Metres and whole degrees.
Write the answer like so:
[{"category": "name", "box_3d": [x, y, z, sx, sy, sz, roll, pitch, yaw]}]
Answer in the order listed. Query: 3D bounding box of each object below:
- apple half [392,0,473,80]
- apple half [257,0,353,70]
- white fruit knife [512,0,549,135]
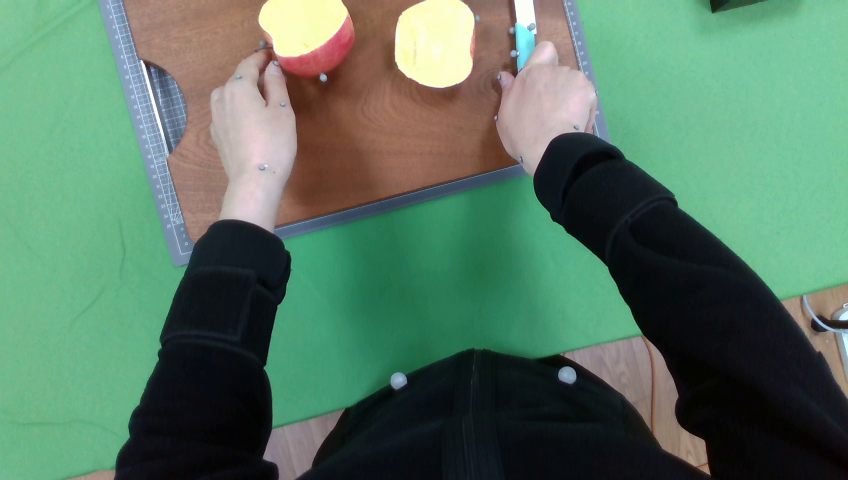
[{"category": "apple half", "box_3d": [0.010, -0.187, 0.557, 0.081, 0.032, 0.081, 2, 104, 10]}, {"category": "apple half", "box_3d": [-0.102, -0.187, 0.541, 0.074, 0.054, 0.080, -34, 65, -5]}, {"category": "white fruit knife", "box_3d": [0.093, -0.202, 0.568, 0.027, 0.016, 0.207, -9, 93, -29]}]
